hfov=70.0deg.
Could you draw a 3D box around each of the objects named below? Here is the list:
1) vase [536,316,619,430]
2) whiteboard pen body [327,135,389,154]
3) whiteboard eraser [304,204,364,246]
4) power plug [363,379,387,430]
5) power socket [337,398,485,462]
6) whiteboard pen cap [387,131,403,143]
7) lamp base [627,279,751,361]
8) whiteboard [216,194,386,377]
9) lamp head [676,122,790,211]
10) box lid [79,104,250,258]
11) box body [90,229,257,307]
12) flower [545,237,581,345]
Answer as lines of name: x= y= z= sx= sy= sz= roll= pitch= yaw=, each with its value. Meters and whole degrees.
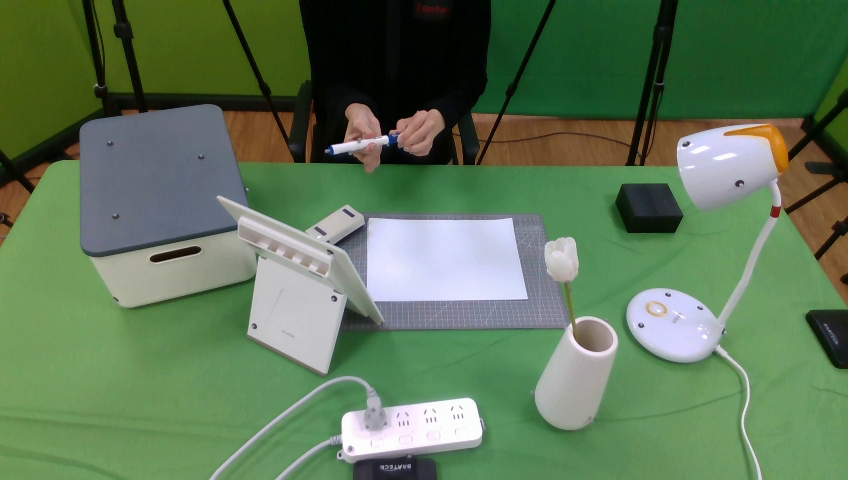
vase: x=0.229 y=0.200 z=0.901 sx=0.098 sy=0.201 sz=0.097 roll=3 pitch=46 yaw=-3
whiteboard pen body: x=-0.103 y=-0.168 z=1.052 sx=0.141 sy=0.017 sz=0.017 roll=-17 pitch=49 yaw=-30
whiteboard eraser: x=-0.175 y=-0.022 z=1.188 sx=0.055 sy=0.042 sz=0.112 roll=36 pitch=54 yaw=26
power plug: x=-0.071 y=0.252 z=0.911 sx=0.035 sy=0.053 sz=0.072 roll=3 pitch=40 yaw=0
power socket: x=-0.018 y=0.285 z=0.914 sx=0.227 sy=0.033 sz=0.071 roll=-4 pitch=46 yaw=-8
whiteboard pen cap: x=-0.054 y=-0.183 z=1.082 sx=0.033 sy=0.018 sz=0.018 roll=-24 pitch=53 yaw=-30
lamp base: x=0.460 y=0.100 z=1.027 sx=0.178 sy=0.181 sz=0.160 roll=27 pitch=51 yaw=17
whiteboard: x=-0.212 y=0.093 z=0.939 sx=0.216 sy=0.307 sz=0.143 roll=24 pitch=70 yaw=17
lamp head: x=0.423 y=-0.104 z=0.819 sx=0.122 sy=0.113 sz=0.112 roll=-13 pitch=33 yaw=40
box lid: x=-0.467 y=-0.120 z=1.075 sx=0.264 sy=0.015 sz=0.369 roll=-13 pitch=49 yaw=-18
box body: x=-0.471 y=-0.070 z=1.131 sx=0.254 sy=0.161 sz=0.361 roll=-14 pitch=49 yaw=-17
flower: x=0.213 y=0.137 z=0.846 sx=0.038 sy=0.364 sz=0.044 roll=21 pitch=55 yaw=40
